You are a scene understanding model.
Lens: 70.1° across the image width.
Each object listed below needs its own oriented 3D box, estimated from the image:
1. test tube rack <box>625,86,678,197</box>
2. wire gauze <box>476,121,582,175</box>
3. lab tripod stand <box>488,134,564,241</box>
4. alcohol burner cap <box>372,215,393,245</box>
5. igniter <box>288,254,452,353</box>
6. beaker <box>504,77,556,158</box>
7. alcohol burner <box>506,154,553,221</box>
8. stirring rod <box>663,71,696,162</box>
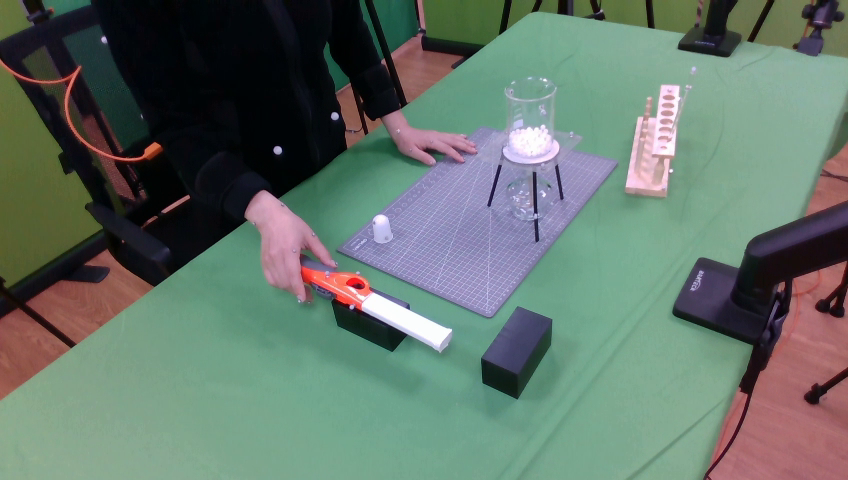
[{"bbox_3d":[0.412,-0.184,1.088,0.066,0.085,0.242,9,43,18],"label":"test tube rack"},{"bbox_3d":[0.162,-0.142,0.929,0.120,0.011,0.125,19,49,32],"label":"wire gauze"},{"bbox_3d":[0.168,-0.092,0.972,0.148,0.132,0.147,-5,41,5],"label":"lab tripod stand"},{"bbox_3d":[-0.070,-0.019,0.990,0.034,0.048,0.033,-4,41,4],"label":"alcohol burner cap"},{"bbox_3d":[-0.083,0.079,0.818,0.274,0.025,0.057,23,46,27],"label":"igniter"},{"bbox_3d":[0.160,-0.181,0.900,0.084,0.101,0.073,-33,46,-27],"label":"beaker"},{"bbox_3d":[0.171,-0.090,0.984,0.078,0.119,0.077,-5,42,5],"label":"alcohol burner"},{"bbox_3d":[0.410,-0.195,0.981,0.014,0.177,0.006,12,50,14],"label":"stirring rod"}]
